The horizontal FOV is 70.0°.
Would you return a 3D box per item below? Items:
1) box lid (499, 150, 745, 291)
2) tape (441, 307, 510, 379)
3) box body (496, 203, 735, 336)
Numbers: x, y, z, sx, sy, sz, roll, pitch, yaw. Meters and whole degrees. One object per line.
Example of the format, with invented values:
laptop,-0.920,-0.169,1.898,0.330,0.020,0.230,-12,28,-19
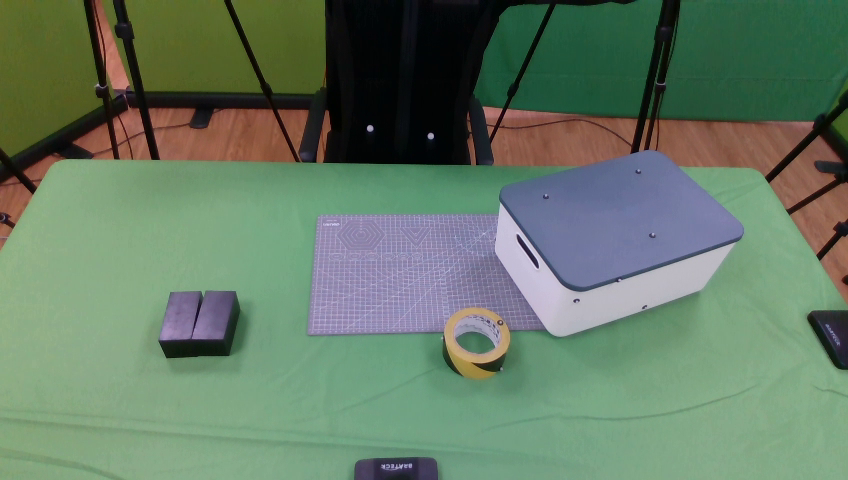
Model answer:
box lid,0.341,-0.049,1.064,0.372,0.015,0.261,-15,48,-18
tape,0.087,0.172,1.014,0.117,0.053,0.116,2,48,-2
box body,0.340,0.003,1.118,0.364,0.161,0.252,-15,49,-18
